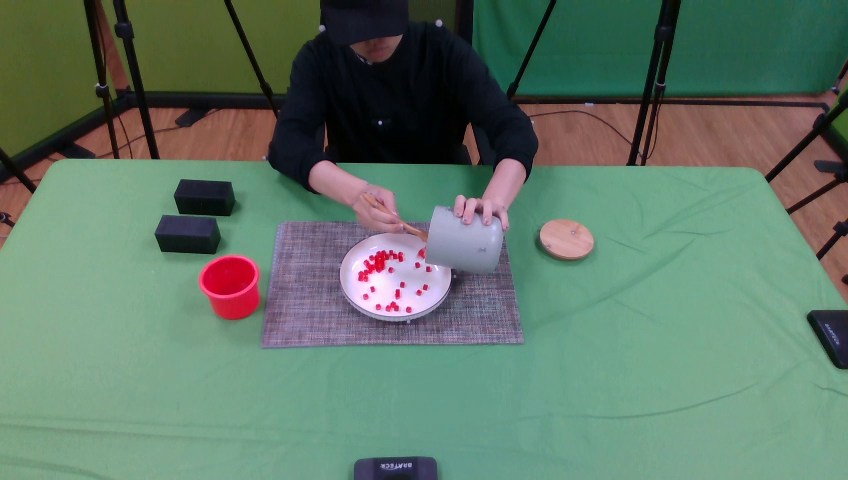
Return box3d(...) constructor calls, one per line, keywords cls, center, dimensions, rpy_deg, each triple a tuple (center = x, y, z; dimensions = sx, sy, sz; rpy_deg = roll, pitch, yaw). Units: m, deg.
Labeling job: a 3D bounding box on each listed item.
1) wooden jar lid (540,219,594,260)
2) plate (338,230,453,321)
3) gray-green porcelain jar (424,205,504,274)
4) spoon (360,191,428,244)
box3d(cls="wooden jar lid", center=(0.286, 0.001, 1.219), dimensions=(0.108, 0.021, 0.107), rpy_deg=(1, 46, -1))
box3d(cls="plate", center=(-0.051, 0.068, 1.111), dimensions=(0.208, 0.039, 0.206), rpy_deg=(2, 46, -2))
box3d(cls="gray-green porcelain jar", center=(0.072, 0.001, 1.059), dimensions=(0.126, 0.106, 0.105), rpy_deg=(11, 46, 5))
box3d(cls="spoon", center=(-0.033, -0.026, 1.058), dimensions=(0.194, 0.021, 0.041), rpy_deg=(32, 48, -17))
